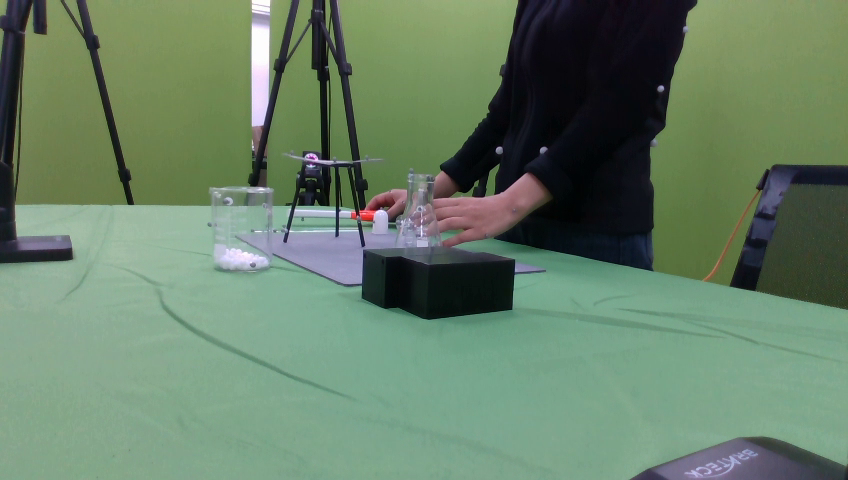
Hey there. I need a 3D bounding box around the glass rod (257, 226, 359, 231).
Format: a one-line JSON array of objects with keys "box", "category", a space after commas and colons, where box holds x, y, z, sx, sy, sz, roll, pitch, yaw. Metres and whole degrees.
[{"box": [-0.216, -0.022, 1.151, 0.201, 0.008, 0.008, -2, 8, -28], "category": "glass rod"}]

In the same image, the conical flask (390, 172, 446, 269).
[{"box": [-0.006, -0.027, 0.790, 0.075, 0.122, 0.075, 2, 7, 0], "category": "conical flask"}]

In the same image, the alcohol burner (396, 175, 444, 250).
[{"box": [-0.007, -0.045, 0.968, 0.078, 0.119, 0.078, 1, 6, 0], "category": "alcohol burner"}]

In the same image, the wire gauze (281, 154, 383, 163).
[{"box": [-0.146, -0.130, 0.977, 0.124, 0.011, 0.122, 9, 10, 41], "category": "wire gauze"}]

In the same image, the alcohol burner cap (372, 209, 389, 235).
[{"box": [-0.082, -0.035, 1.143, 0.034, 0.048, 0.034, 2, 6, 0], "category": "alcohol burner cap"}]

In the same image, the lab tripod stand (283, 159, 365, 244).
[{"box": [-0.151, -0.063, 0.983, 0.148, 0.131, 0.148, 4, 7, 0], "category": "lab tripod stand"}]

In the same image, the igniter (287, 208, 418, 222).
[{"box": [-0.147, -0.053, 1.278, 0.278, 0.025, 0.057, 1, 3, -22], "category": "igniter"}]

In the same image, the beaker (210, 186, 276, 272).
[{"box": [-0.224, -0.014, 0.738, 0.084, 0.100, 0.074, 4, 7, 16], "category": "beaker"}]
